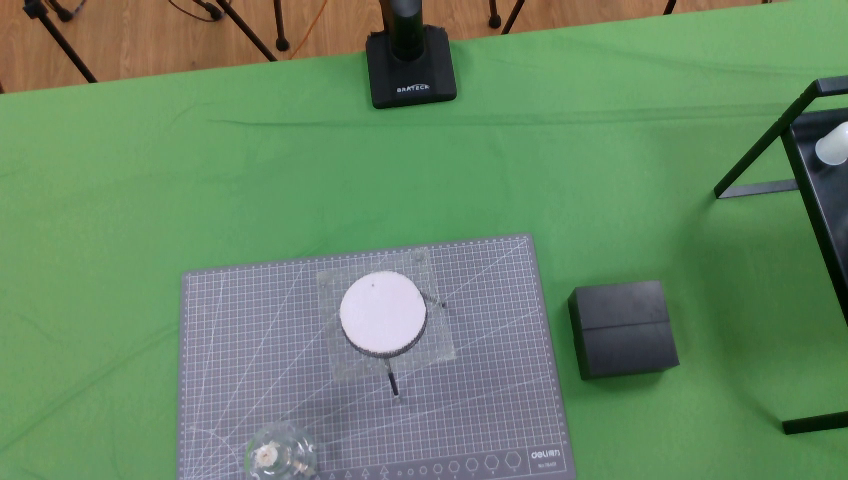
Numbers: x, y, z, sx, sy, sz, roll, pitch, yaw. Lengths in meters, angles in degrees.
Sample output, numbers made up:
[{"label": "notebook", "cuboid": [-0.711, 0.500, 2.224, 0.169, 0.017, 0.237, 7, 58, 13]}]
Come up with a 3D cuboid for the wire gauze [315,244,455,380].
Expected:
[{"label": "wire gauze", "cuboid": [-0.042, 0.072, 0.614, 0.125, 0.011, 0.120, -11, 71, -4]}]

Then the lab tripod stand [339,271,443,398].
[{"label": "lab tripod stand", "cuboid": [-0.038, 0.093, 0.677, 0.148, 0.132, 0.147, 0, 68, 1]}]

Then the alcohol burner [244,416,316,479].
[{"label": "alcohol burner", "cuboid": [-0.156, 0.225, 0.643, 0.078, 0.120, 0.077, 0, 69, 0]}]

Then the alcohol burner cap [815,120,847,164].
[{"label": "alcohol burner cap", "cuboid": [0.414, -0.099, 0.596, 0.034, 0.048, 0.033, 0, 70, 2]}]
